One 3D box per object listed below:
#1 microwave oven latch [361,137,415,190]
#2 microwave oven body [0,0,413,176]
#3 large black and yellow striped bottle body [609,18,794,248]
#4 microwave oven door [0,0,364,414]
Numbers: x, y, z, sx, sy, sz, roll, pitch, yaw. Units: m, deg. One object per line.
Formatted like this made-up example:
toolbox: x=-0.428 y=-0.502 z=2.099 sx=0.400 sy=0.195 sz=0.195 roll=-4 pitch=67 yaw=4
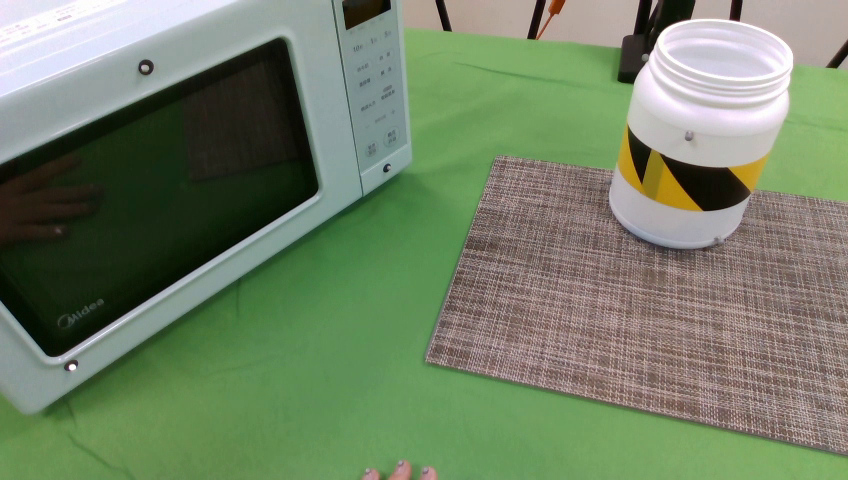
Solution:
microwave oven latch: x=-0.045 y=-0.088 z=0.663 sx=0.079 sy=0.030 sz=0.030 roll=-36 pitch=54 yaw=-28
microwave oven body: x=-0.279 y=-0.131 z=0.581 sx=0.323 sy=0.262 sz=0.441 roll=33 pitch=56 yaw=30
large black and yellow striped bottle body: x=0.255 y=-0.098 z=0.571 sx=0.131 sy=0.186 sz=0.129 roll=-1 pitch=45 yaw=2
microwave oven door: x=-0.203 y=-0.045 z=0.484 sx=0.039 sy=0.246 sz=0.355 roll=33 pitch=55 yaw=31
